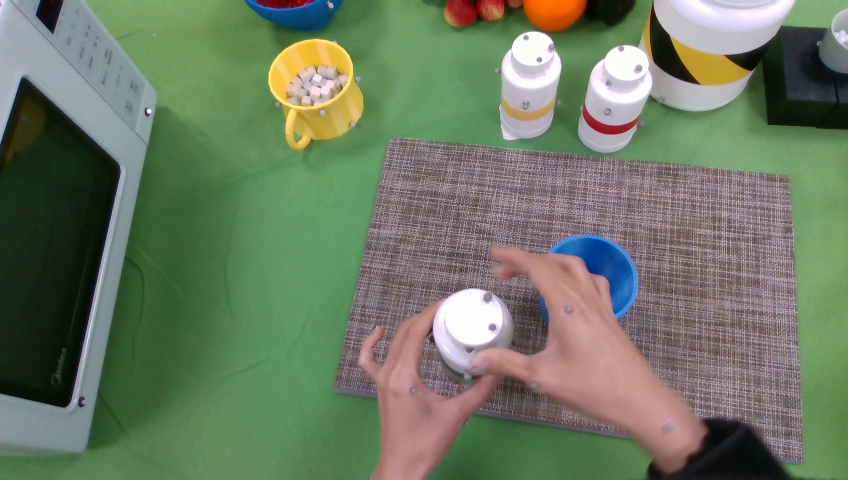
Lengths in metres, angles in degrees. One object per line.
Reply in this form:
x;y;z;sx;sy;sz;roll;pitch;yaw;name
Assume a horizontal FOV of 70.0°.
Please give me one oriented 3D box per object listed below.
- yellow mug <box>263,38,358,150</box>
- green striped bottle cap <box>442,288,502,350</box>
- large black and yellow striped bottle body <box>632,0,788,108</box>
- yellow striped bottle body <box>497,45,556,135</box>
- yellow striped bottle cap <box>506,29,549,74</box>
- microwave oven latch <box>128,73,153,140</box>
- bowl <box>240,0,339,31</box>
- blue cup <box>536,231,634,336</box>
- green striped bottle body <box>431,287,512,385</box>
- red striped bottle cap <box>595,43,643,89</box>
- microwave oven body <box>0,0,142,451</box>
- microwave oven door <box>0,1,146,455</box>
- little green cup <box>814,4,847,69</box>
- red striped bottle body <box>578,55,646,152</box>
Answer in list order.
-0.139;-0.167;0.720;0.099;0.064;0.130;16;71;11;yellow mug
0.035;0.058;0.445;0.044;0.020;0.044;-2;68;6;green striped bottle cap
0.303;-0.244;0.646;0.130;0.185;0.130;-2;67;5;large black and yellow striped bottle body
0.112;-0.174;0.669;0.063;0.121;0.062;-2;67;6;yellow striped bottle body
0.107;-0.194;0.622;0.044;0.019;0.044;-1;69;4;yellow striped bottle cap
-0.351;-0.161;0.733;0.030;0.030;0.078;0;68;5;microwave oven latch
-0.165;-0.327;0.782;0.151;0.077;0.150;-2;68;4;bowl
0.146;0.050;0.580;0.092;0.101;0.092;-1;67;3;blue cup
0.039;0.079;0.496;0.063;0.120;0.062;-1;68;4;green striped bottle body
0.195;-0.174;0.605;0.044;0.018;0.044;0;67;1;red striped bottle cap
-0.507;-0.029;0.589;0.326;0.262;0.438;-2;68;4;microwave oven body
-0.362;0.003;0.557;0.039;0.245;0.353;-2;67;5;microwave oven door
0.451;-0.214;0.644;0.061;0.039;0.061;-1;66;3;little green cup
0.202;-0.153;0.653;0.063;0.121;0.062;-4;64;8;red striped bottle body
